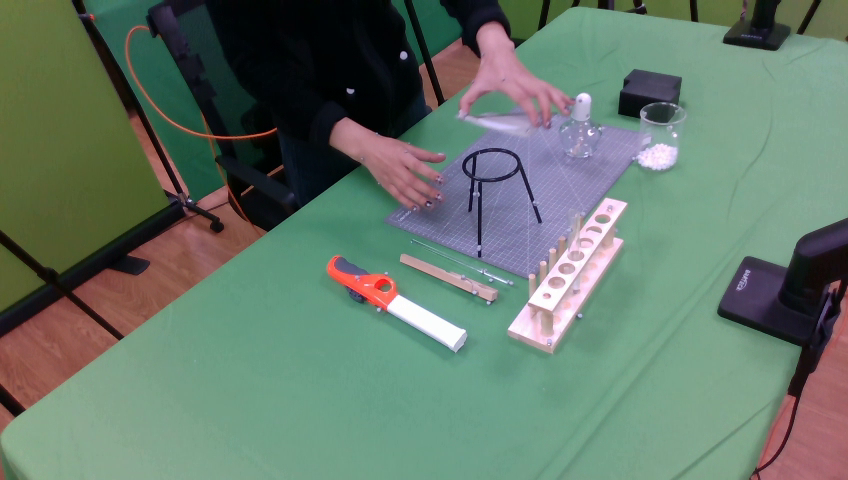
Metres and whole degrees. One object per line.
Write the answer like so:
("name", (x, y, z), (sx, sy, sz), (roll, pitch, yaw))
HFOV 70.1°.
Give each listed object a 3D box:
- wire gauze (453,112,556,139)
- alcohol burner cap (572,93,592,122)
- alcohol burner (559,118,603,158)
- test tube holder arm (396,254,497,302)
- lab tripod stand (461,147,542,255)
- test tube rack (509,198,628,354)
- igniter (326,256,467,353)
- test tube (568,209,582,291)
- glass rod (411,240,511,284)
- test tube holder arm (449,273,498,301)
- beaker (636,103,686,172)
("wire gauze", (0.122, -0.178, 0.912), (0.124, 0.011, 0.122), (16, 28, 30))
("alcohol burner cap", (0.284, -0.238, 1.079), (0.034, 0.048, 0.033), (-1, 48, 1))
("alcohol burner", (0.287, -0.212, 1.104), (0.078, 0.119, 0.077), (-4, 40, 4))
("test tube holder arm", (0.030, 0.055, 0.911), (0.177, 0.015, 0.013), (21, 9, 29))
("lab tripod stand", (0.114, -0.069, 0.953), (0.148, 0.132, 0.147), (-5, 38, 4))
("test tube rack", (0.206, 0.039, 0.850), (0.066, 0.085, 0.243), (20, 48, 31))
("igniter", (-0.051, 0.088, 0.886), (0.274, 0.025, 0.057), (26, 61, 35))
("test tube", (0.200, 0.017, 0.799), (0.017, 0.151, 0.017), (-8, 45, 8))
("glass rod", (0.053, 0.034, 0.946), (0.198, 0.008, 0.008), (22, 50, 36))
("test tube holder arm", (0.070, 0.069, 0.894), (0.087, 0.015, 0.010), (21, 9, 31))
("beaker", (0.413, -0.177, 1.055), (0.084, 0.101, 0.073), (-28, 44, -21))
